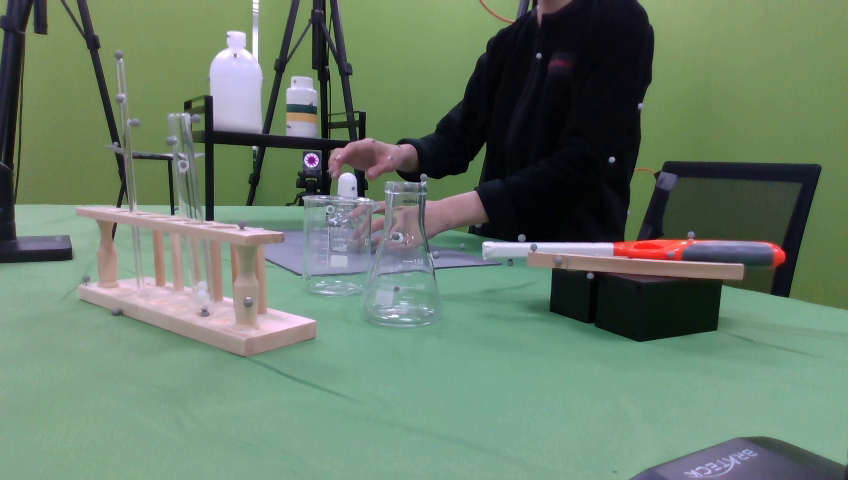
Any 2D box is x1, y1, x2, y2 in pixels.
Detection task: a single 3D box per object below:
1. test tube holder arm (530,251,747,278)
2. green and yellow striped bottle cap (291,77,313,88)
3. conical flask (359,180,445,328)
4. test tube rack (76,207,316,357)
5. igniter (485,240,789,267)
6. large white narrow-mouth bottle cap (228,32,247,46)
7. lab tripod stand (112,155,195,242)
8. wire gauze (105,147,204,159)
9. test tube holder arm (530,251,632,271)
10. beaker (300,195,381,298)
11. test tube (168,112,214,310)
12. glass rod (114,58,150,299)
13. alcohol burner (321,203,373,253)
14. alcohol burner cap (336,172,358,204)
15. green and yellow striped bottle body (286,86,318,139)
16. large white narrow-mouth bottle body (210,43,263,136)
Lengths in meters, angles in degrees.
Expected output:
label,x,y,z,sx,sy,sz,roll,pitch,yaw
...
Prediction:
label,x,y,z,sx,sy,sz,roll,pitch,yaw
test tube holder arm,0.182,0.022,0.523,0.178,0.015,0.013,3,6,12
green and yellow striped bottle cap,-0.250,-0.321,1.238,0.045,0.020,0.045,3,6,0
conical flask,-0.017,0.010,0.522,0.075,0.122,0.075,2,7,0
test tube rack,-0.196,0.023,0.500,0.241,0.085,0.067,8,9,36
igniter,0.197,0.012,0.585,0.276,0.025,0.057,1,5,12
large white narrow-mouth bottle cap,-0.364,-0.391,1.180,0.038,0.024,0.037,3,8,0
lab tripod stand,-0.405,-0.064,0.931,0.148,0.131,0.148,1,6,0
wire gauze,-0.407,-0.131,0.928,0.125,0.011,0.121,2,6,-11
test tube holder arm,0.139,0.019,0.538,0.087,0.015,0.010,3,6,13
beaker,-0.087,0.006,0.626,0.084,0.100,0.074,1,8,-17
test tube,-0.175,-0.020,0.455,0.017,0.150,0.017,-4,9,1
glass rod,-0.237,-0.044,0.492,0.008,0.199,0.008,1,15,0
alcohol burner,-0.115,-0.041,0.905,0.078,0.119,0.078,0,6,0
alcohol burner cap,-0.114,-0.077,0.899,0.034,0.048,0.034,1,7,0
green and yellow striped bottle body,-0.251,-0.270,1.245,0.063,0.119,0.063,2,7,0
large white narrow-mouth bottle body,-0.369,-0.305,1.194,0.102,0.194,0.102,3,8,0
